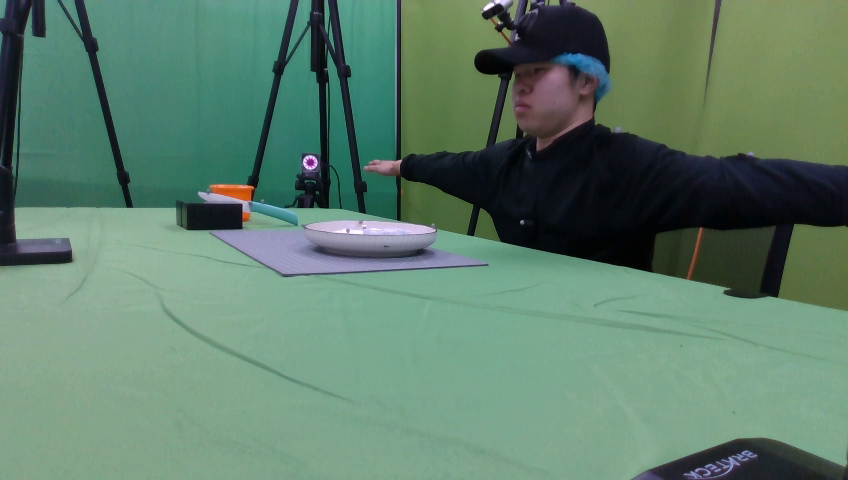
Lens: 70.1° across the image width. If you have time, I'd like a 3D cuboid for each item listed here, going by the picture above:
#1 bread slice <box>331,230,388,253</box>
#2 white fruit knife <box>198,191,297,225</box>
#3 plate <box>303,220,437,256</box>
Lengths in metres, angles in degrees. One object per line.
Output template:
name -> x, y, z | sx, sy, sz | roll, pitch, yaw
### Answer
bread slice -> -0.088, 0.000, 0.947 | 0.105, 0.019, 0.131 | -4, 11, -44
white fruit knife -> -0.351, -0.068, 1.224 | 0.208, 0.027, 0.016 | 15, -1, -33
plate -> -0.084, -0.003, 0.951 | 0.209, 0.038, 0.209 | 3, 7, 0
